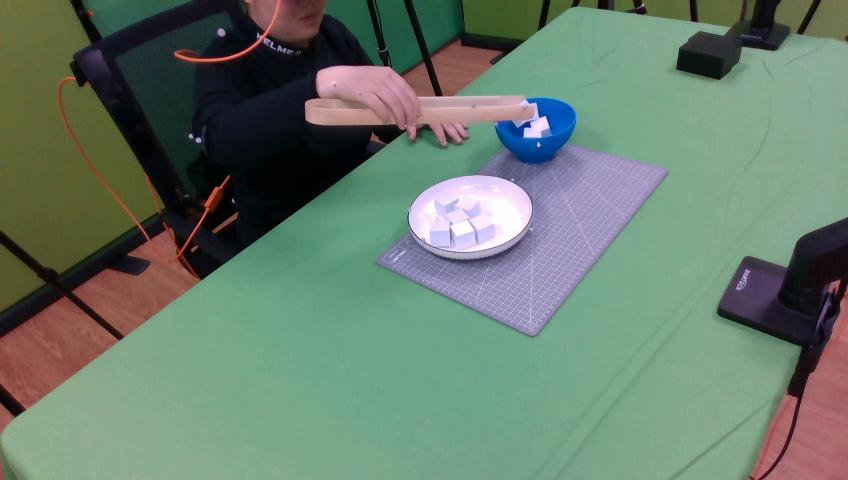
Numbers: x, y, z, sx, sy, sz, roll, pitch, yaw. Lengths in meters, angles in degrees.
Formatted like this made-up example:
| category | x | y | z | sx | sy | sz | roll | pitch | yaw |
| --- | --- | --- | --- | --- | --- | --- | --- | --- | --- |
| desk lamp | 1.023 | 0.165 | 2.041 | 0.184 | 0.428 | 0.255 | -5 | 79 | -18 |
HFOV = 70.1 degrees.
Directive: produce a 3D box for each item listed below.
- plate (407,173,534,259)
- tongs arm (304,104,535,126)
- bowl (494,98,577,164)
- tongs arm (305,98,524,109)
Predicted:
| category | x | y | z | sx | sy | sz | roll | pitch | yaw |
| --- | --- | --- | --- | --- | --- | --- | --- | --- | --- |
| plate | 0.076 | -0.037 | 0.997 | 0.207 | 0.039 | 0.206 | -5 | 40 | 5 |
| tongs arm | 0.003 | -0.207 | 0.980 | 0.387 | 0.026 | 0.050 | -7 | 30 | -22 |
| bowl | 0.207 | -0.196 | 1.128 | 0.151 | 0.077 | 0.150 | -5 | 40 | 5 |
| tongs arm | -0.006 | -0.219 | 1.004 | 0.390 | 0.028 | 0.028 | -6 | 33 | -20 |
